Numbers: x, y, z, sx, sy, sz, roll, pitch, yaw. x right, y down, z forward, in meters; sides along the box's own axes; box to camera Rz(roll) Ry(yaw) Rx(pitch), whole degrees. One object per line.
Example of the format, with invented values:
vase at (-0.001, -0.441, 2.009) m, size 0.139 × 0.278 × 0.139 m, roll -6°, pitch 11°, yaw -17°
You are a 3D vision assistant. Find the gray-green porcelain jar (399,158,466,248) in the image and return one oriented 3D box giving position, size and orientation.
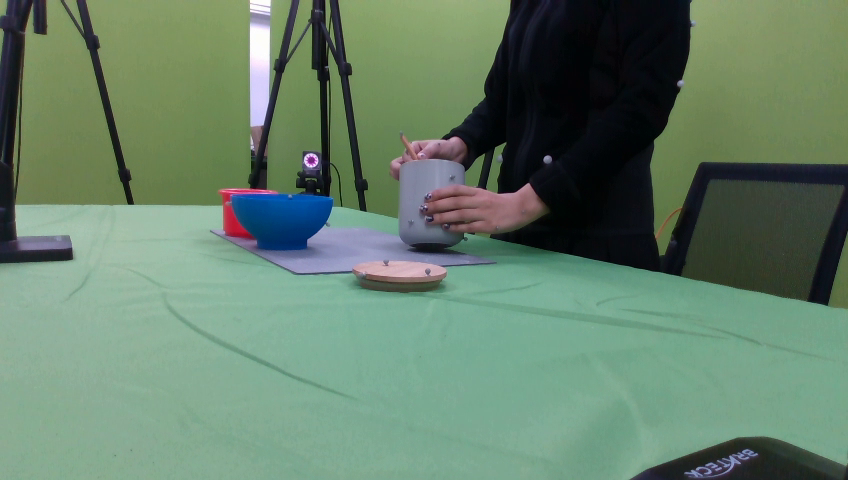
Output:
gray-green porcelain jar at (0.013, -0.054, 0.950) m, size 0.106 × 0.126 × 0.106 m, roll 0°, pitch -8°, yaw 0°

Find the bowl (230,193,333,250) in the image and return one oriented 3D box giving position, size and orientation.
bowl at (-0.214, -0.028, 0.912) m, size 0.151 × 0.077 × 0.151 m, roll 2°, pitch 8°, yaw 0°

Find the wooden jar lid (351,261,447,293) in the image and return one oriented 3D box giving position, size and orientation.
wooden jar lid at (-0.028, 0.042, 0.687) m, size 0.108 × 0.020 × 0.108 m, roll 3°, pitch 8°, yaw 0°

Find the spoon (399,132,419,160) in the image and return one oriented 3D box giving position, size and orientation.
spoon at (0.001, -0.094, 0.984) m, size 0.021 × 0.193 × 0.042 m, roll -24°, pitch -15°, yaw 12°
